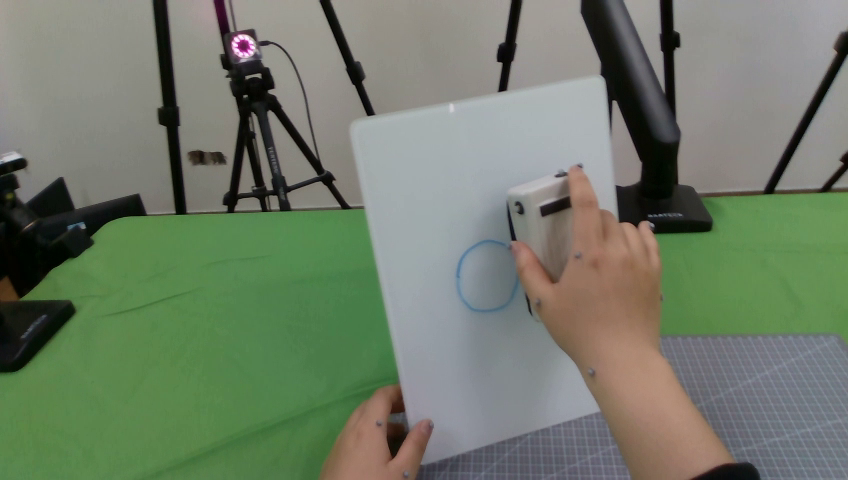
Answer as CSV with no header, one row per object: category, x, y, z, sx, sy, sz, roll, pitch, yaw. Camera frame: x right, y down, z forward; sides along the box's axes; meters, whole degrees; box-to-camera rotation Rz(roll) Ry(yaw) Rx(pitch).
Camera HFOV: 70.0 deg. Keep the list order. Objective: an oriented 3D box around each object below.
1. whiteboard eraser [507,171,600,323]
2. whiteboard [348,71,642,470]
whiteboard eraser,0.101,0.006,0.480,0.056,0.113,0.041,-19,15,-18
whiteboard,0.059,0.018,0.576,0.217,0.306,0.143,-13,13,-10
